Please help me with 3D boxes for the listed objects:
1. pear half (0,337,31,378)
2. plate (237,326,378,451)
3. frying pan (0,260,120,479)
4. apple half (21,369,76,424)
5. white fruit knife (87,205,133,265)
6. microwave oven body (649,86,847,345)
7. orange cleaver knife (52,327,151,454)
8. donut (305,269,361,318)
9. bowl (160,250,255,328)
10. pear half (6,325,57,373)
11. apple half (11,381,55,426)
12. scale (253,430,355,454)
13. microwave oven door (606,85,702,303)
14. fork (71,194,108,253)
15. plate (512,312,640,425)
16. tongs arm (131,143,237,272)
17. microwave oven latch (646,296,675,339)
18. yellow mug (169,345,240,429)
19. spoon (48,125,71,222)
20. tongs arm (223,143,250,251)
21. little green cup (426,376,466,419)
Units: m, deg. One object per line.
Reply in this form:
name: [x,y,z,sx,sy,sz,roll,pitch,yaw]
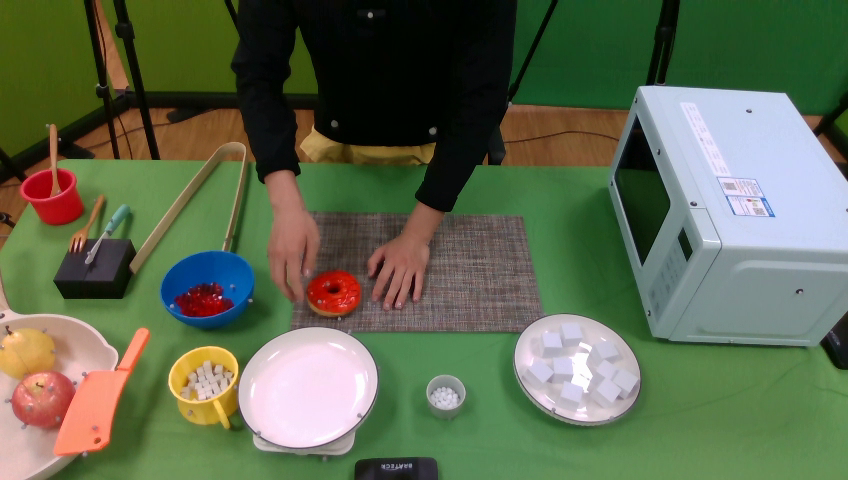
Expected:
pear half: [-0.631,0.183,0.923,0.070,0.088,0.031,28,50,14]
plate: [-0.174,0.224,0.917,0.209,0.038,0.208,2,46,-2]
frying pan: [-0.647,0.164,0.936,0.307,0.103,0.485,-19,58,-22]
apple half: [-0.546,0.226,0.898,0.080,0.075,0.053,30,48,27]
white fruit knife: [-0.584,-0.013,1.129,0.016,0.027,0.206,0,31,-5]
microwave oven body: [0.567,-0.053,1.118,0.326,0.261,0.439,2,45,-1]
orange cleaver knife: [-0.462,0.212,0.879,0.077,0.012,0.210,7,45,-2]
donut: [-0.160,0.094,1.075,0.099,0.048,0.098,4,45,-3]
bowl: [-0.362,0.098,1.040,0.151,0.077,0.150,2,45,-2]
pear half: [-0.607,0.158,0.935,0.076,0.110,0.056,30,51,19]
apple half: [-0.570,0.246,0.875,0.081,0.081,0.033,32,49,24]
scale: [-0.175,0.236,0.951,0.149,0.032,0.199,4,45,0]
microwave oven door: [0.422,-0.094,1.140,0.039,0.245,0.353,2,46,-1]
fork: [-0.635,-0.036,1.158,0.028,0.019,0.206,-7,31,-8]
plate: [0.246,0.213,0.999,0.208,0.039,0.206,2,46,-2]
tongs arm: [-0.482,-0.079,1.235,0.028,0.028,0.385,7,45,13]
microwave oven latch: [0.412,0.134,1.061,0.030,0.029,0.078,4,45,1]
yellow mug: [-0.323,0.230,0.922,0.100,0.064,0.130,-24,53,-25]
spoon: [-0.718,-0.131,1.188,0.041,0.021,0.193,-3,90,-7]
tongs arm: [-0.397,-0.073,1.232,0.051,0.026,0.382,-1,45,0]
little green cup: [0.033,0.248,0.950,0.061,0.039,0.061,2,46,-2]
